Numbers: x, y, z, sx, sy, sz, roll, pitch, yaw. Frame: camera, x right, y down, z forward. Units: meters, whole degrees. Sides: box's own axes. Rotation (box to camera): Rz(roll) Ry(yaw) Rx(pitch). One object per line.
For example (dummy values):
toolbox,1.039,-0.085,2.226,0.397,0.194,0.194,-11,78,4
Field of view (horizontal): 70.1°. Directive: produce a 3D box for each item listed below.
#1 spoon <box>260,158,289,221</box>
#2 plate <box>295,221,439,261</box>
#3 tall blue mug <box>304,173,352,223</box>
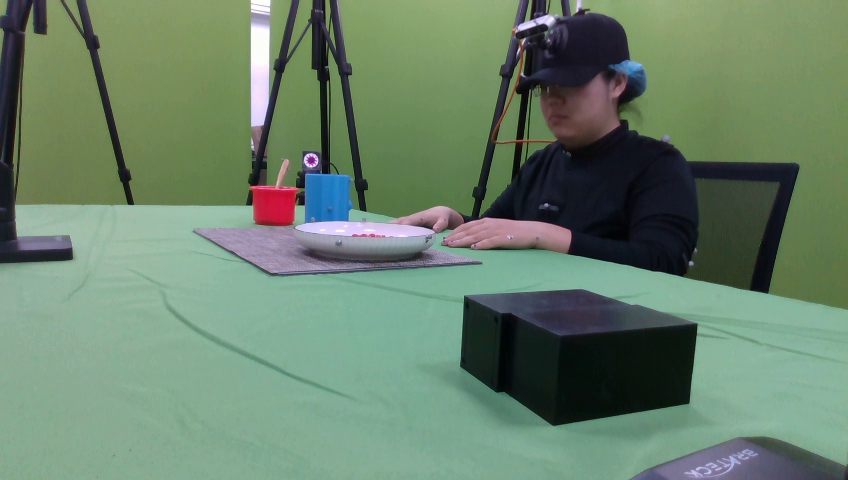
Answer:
spoon,-0.308,-0.110,1.277,0.041,0.022,0.193,-1,51,6
plate,-0.083,0.001,0.885,0.208,0.039,0.207,2,7,0
tall blue mug,-0.178,-0.063,1.062,0.078,0.108,0.106,-4,10,-38
